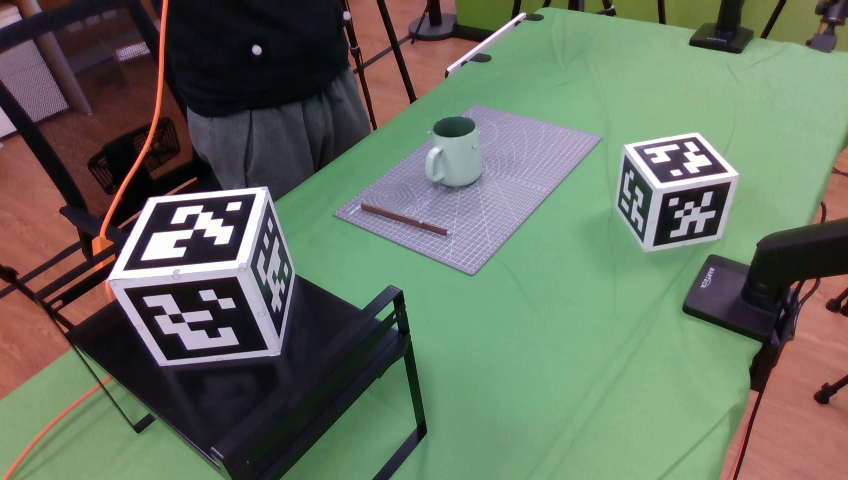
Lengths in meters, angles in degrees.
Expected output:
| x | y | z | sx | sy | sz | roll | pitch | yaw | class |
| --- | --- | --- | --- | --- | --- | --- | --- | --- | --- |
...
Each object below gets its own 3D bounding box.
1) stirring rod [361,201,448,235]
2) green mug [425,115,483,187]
| x | y | z | sx | sy | sz | roll | pitch | yaw | class |
| --- | --- | --- | --- | --- | --- | --- | --- | --- | --- |
| -0.035 | -0.038 | 1.019 | 0.175 | 0.014 | 0.006 | 19 | 53 | 27 | stirring rod |
| 0.047 | -0.149 | 1.068 | 0.092 | 0.105 | 0.125 | 24 | 50 | 31 | green mug |
